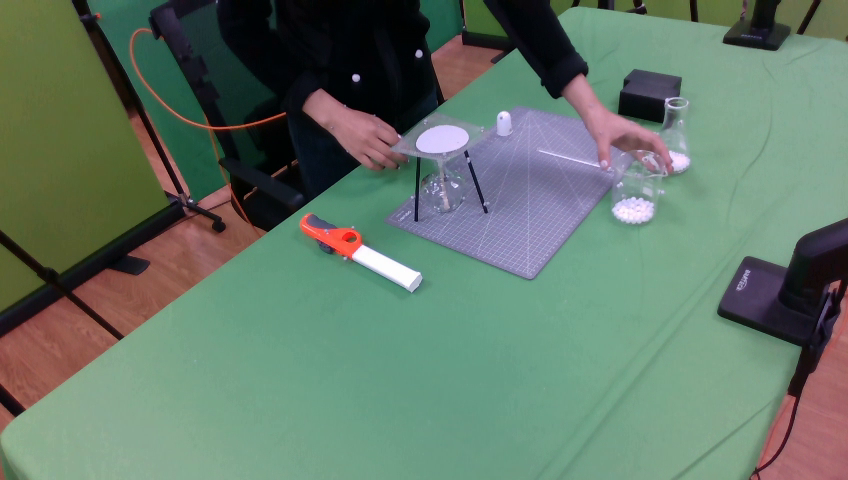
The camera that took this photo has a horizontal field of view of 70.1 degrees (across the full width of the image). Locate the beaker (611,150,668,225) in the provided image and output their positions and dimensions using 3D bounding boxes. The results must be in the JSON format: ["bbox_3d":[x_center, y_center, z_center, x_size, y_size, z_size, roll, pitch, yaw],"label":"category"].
[{"bbox_3d":[0.337,-0.079,0.953,0.083,0.101,0.074,25,51,33],"label":"beaker"}]

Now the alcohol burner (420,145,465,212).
[{"bbox_3d":[0.031,-0.108,1.030,0.078,0.119,0.077,-5,38,4],"label":"alcohol burner"}]

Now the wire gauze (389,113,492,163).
[{"bbox_3d":[0.026,-0.164,0.977,0.120,0.011,0.125,24,49,35],"label":"wire gauze"}]

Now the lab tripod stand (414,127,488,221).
[{"bbox_3d":[0.035,-0.114,1.021,0.148,0.132,0.147,-7,39,6],"label":"lab tripod stand"}]

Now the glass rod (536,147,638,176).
[{"bbox_3d":[0.294,-0.145,1.104,0.198,0.008,0.008,22,50,31],"label":"glass rod"}]

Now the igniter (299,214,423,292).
[{"bbox_3d":[-0.112,0.016,0.983,0.274,0.025,0.057,26,62,35],"label":"igniter"}]

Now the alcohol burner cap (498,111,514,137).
[{"bbox_3d":[0.163,-0.235,1.211,0.034,0.048,0.033,-6,40,6],"label":"alcohol burner cap"}]

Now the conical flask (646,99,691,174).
[{"bbox_3d":[0.426,-0.180,1.037,0.075,0.122,0.075,-5,40,5],"label":"conical flask"}]
